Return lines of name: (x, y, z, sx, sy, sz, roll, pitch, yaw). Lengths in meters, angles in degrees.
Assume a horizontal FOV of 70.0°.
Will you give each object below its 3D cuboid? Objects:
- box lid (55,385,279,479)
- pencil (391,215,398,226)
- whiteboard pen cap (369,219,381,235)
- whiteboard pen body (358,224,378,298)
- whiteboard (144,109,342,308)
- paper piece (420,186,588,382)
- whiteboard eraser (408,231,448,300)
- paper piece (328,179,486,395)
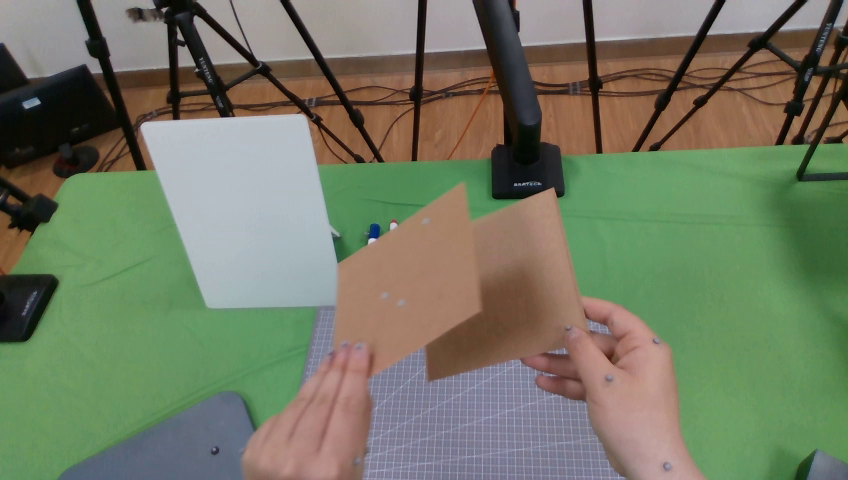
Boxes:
box lid: (-0.285, 0.366, 0.710, 0.263, 0.015, 0.367, -26, 54, -13)
pencil: (-0.050, 0.037, 0.938, 0.012, 0.012, 0.192, -3, 52, 6)
whiteboard pen cap: (-0.079, -0.018, 0.979, 0.018, 0.018, 0.033, -2, 51, 6)
whiteboard pen body: (-0.085, 0.029, 0.945, 0.017, 0.017, 0.139, 0, 52, 8)
whiteboard: (-0.229, -0.064, 0.892, 0.217, 0.308, 0.142, -1, 33, 7)
paper piece: (0.052, 0.034, 0.487, 0.136, 0.009, 0.137, -22, 56, 25)
whiteboard eraser: (0.006, 0.038, 0.910, 0.055, 0.042, 0.111, -2, 52, 8)
paper piece: (-0.017, 0.029, 0.435, 0.135, 0.004, 0.134, -31, 36, 24)
